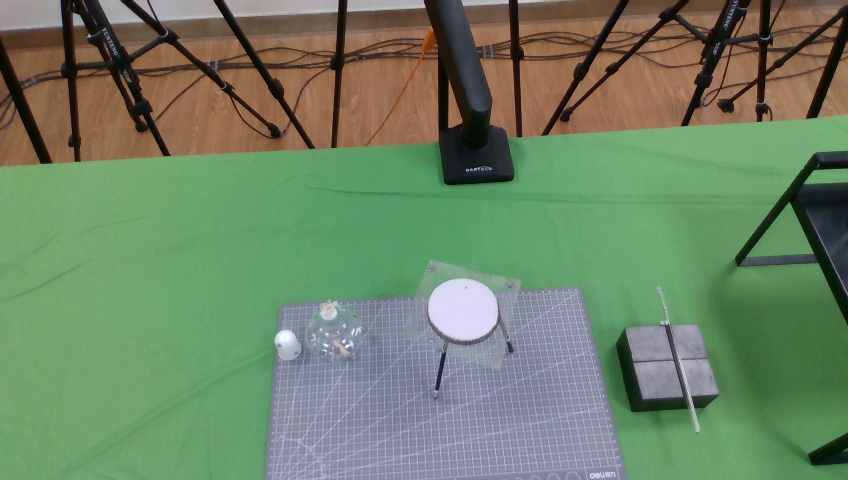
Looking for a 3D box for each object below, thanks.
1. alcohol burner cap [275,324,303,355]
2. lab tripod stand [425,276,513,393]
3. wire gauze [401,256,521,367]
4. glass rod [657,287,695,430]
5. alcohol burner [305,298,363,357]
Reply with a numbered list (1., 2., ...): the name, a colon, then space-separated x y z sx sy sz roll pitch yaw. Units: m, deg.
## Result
1. alcohol burner cap: -0.187 0.135 0.833 0.034 0.048 0.033 -2 56 3
2. lab tripod stand: 0.051 0.116 0.793 0.148 0.132 0.147 1 55 -1
3. wire gauze: 0.048 0.081 0.735 0.125 0.011 0.120 16 58 9
4. glass rod: 0.329 0.150 0.794 0.008 0.008 0.198 0 57 0
5. alcohol burner: -0.121 0.110 0.807 0.078 0.120 0.077 1 56 -1
